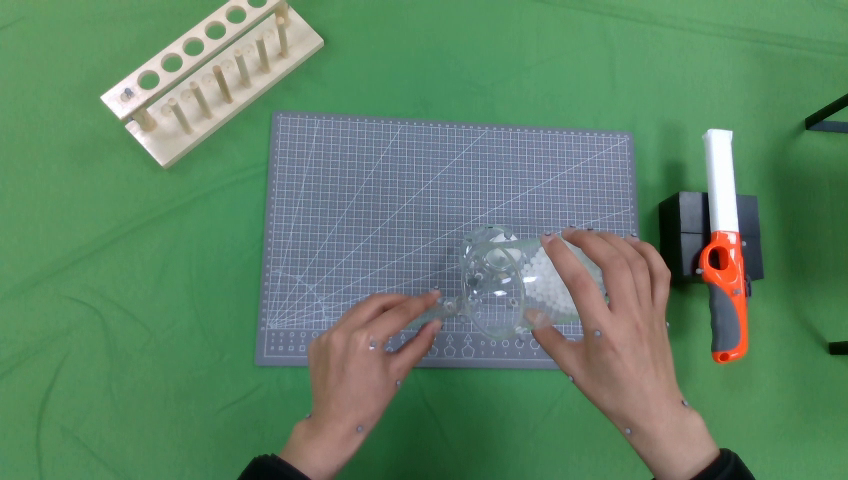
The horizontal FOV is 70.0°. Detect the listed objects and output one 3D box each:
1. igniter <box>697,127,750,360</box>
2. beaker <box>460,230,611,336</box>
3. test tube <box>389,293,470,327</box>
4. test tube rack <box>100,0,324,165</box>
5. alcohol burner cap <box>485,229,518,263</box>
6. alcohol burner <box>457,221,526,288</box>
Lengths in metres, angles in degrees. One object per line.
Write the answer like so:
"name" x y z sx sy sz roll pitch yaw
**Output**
"igniter" 0.342 0.000 0.698 0.057 0.025 0.275 5 76 -4
"beaker" 0.088 0.031 0.475 0.101 0.084 0.073 -6 74 -31
"test tube" 0.000 0.065 0.549 0.017 0.150 0.017 6 75 -23
"test tube rack" -0.228 -0.198 0.683 0.242 0.085 0.066 -43 85 -13
"alcohol burner cap" 0.083 0.005 0.628 0.034 0.048 0.033 0 80 -2
"alcohol burner" 0.078 0.012 0.662 0.078 0.119 0.077 2 76 -8
